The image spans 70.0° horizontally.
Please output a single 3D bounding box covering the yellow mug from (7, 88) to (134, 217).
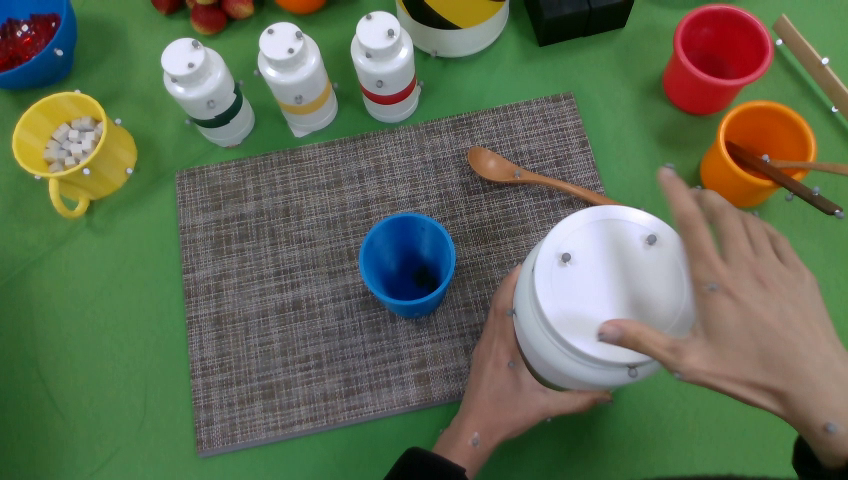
[{"bbox_3d":[-0.376,-0.089,0.645,0.100,0.064,0.130,-2,72,1],"label":"yellow mug"}]

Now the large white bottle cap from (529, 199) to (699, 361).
[{"bbox_3d":[0.131,0.027,0.423,0.115,0.018,0.114,0,71,1],"label":"large white bottle cap"}]

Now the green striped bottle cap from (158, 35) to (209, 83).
[{"bbox_3d":[-0.232,-0.175,0.584,0.044,0.020,0.044,-1,70,2],"label":"green striped bottle cap"}]

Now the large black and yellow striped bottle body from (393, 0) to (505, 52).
[{"bbox_3d":[0.025,-0.302,0.634,0.131,0.185,0.130,-1,72,3],"label":"large black and yellow striped bottle body"}]

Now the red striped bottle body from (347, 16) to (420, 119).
[{"bbox_3d":[-0.042,-0.183,0.633,0.063,0.120,0.062,-2,70,7],"label":"red striped bottle body"}]

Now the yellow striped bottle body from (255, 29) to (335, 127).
[{"bbox_3d":[-0.135,-0.175,0.634,0.063,0.121,0.062,-1,71,4],"label":"yellow striped bottle body"}]

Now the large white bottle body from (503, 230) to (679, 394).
[{"bbox_3d":[0.137,0.056,0.507,0.130,0.186,0.129,-1,71,3],"label":"large white bottle body"}]

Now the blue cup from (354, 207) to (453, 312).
[{"bbox_3d":[-0.016,0.028,0.568,0.092,0.101,0.092,0,71,1],"label":"blue cup"}]

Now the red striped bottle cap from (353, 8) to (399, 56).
[{"bbox_3d":[-0.046,-0.201,0.583,0.044,0.018,0.044,0,70,-1],"label":"red striped bottle cap"}]

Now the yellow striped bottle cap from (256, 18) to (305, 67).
[{"bbox_3d":[-0.139,-0.191,0.585,0.044,0.019,0.044,0,73,2],"label":"yellow striped bottle cap"}]

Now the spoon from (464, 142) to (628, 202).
[{"bbox_3d":[0.133,-0.061,0.632,0.193,0.022,0.041,19,49,8],"label":"spoon"}]

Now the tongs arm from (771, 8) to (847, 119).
[{"bbox_3d":[0.493,-0.097,0.623,0.051,0.027,0.382,-24,73,-7],"label":"tongs arm"}]

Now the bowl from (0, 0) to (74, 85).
[{"bbox_3d":[-0.463,-0.232,0.690,0.151,0.077,0.150,-1,72,2],"label":"bowl"}]

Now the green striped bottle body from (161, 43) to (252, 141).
[{"bbox_3d":[-0.229,-0.158,0.633,0.063,0.120,0.063,-1,71,3],"label":"green striped bottle body"}]

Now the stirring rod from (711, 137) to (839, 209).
[{"bbox_3d":[0.322,-0.067,0.569,0.014,0.006,0.174,-10,29,-3],"label":"stirring rod"}]

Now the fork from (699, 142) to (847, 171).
[{"bbox_3d":[0.353,-0.071,0.562,0.028,0.019,0.205,-50,32,-12],"label":"fork"}]
